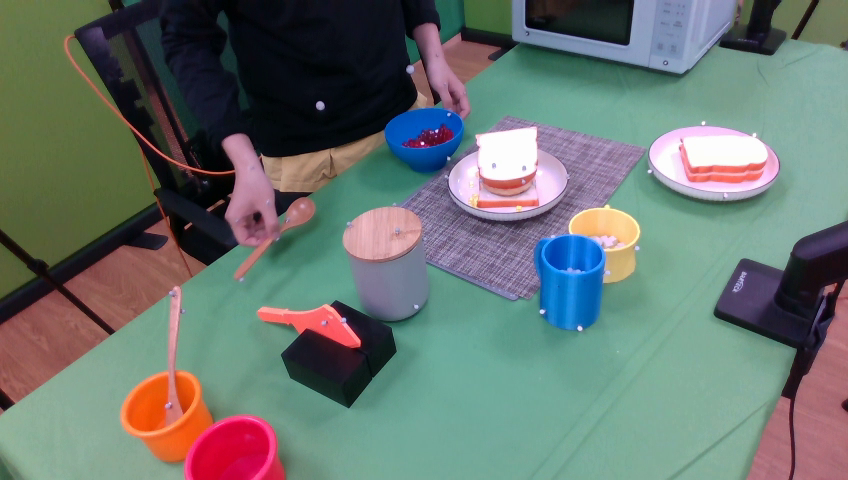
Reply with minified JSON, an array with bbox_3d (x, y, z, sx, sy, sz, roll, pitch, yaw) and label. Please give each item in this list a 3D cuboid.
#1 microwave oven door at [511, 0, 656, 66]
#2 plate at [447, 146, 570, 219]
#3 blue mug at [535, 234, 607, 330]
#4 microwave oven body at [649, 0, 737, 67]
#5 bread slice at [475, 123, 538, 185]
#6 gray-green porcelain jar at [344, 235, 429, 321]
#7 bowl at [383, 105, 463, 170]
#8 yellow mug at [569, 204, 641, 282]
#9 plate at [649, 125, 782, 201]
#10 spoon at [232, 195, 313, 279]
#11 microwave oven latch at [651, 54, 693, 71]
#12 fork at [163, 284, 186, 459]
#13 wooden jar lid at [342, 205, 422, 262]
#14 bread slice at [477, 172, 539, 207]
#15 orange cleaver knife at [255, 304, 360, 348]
[{"bbox_3d":[0.351,-0.539,1.349,0.353,0.245,0.039,24,50,31],"label":"microwave oven door"},{"bbox_3d":[0.145,-0.098,1.046,0.209,0.038,0.208,-4,40,4],"label":"plate"},{"bbox_3d":[0.190,0.048,0.824,0.082,0.106,0.115,-26,44,-21],"label":"blue mug"},{"bbox_3d":[0.475,-0.602,1.411,0.438,0.261,0.327,23,50,32],"label":"microwave oven body"},{"bbox_3d":[0.142,-0.143,1.008,0.107,0.018,0.133,-8,47,9],"label":"bread slice"},{"bbox_3d":[-0.049,0.042,0.849,0.106,0.127,0.105,-4,41,4],"label":"gray-green porcelain jar"},{"bbox_3d":[0.002,-0.185,1.142,0.151,0.077,0.150,-4,40,4],"label":"bowl"},{"bbox_3d":[0.268,-0.005,0.904,0.099,0.064,0.130,7,41,15],"label":"yellow mug"},{"bbox_3d":[0.493,-0.128,1.036,0.207,0.039,0.206,-4,41,4],"label":"plate"},{"bbox_3d":[-0.236,-0.008,0.944,0.041,0.021,0.194,33,47,3],"label":"spoon"},{"bbox_3d":[0.532,-0.386,1.301,0.078,0.029,0.030,26,51,33],"label":"microwave oven latch"},{"bbox_3d":[-0.302,0.157,0.733,0.028,0.019,0.207,-3,84,15],"label":"fork"},{"bbox_3d":[-0.055,-0.005,0.808,0.108,0.021,0.108,-6,41,6],"label":"wooden jar lid"},{"bbox_3d":[0.144,-0.105,1.058,0.105,0.019,0.131,-1,43,6],"label":"bread slice"},{"bbox_3d":[-0.161,0.115,0.813,0.210,0.077,0.012,-5,32,46],"label":"orange cleaver knife"}]
